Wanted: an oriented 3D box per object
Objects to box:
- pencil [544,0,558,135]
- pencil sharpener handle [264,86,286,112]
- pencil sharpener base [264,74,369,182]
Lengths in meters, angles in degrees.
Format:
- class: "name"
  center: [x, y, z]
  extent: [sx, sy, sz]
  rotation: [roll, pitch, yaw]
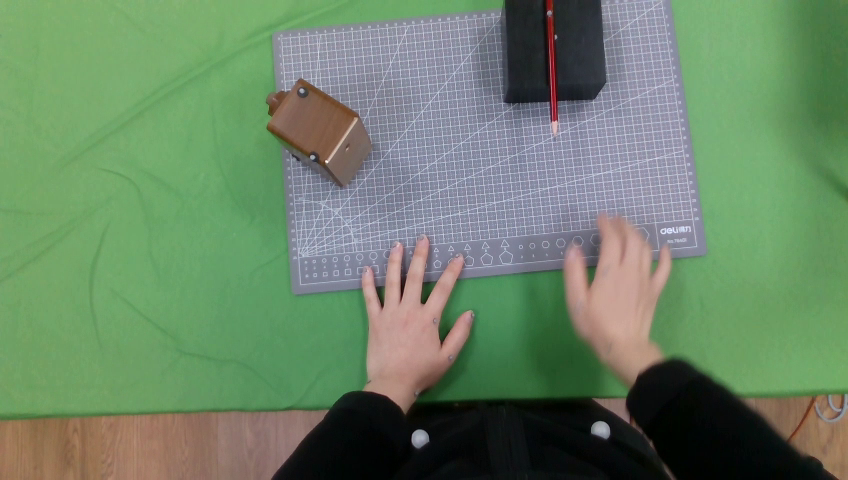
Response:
- class: "pencil"
  center: [0.130, -0.202, 0.623]
  extent: [0.012, 0.012, 0.193]
  rotation: [-2, 85, 1]
- class: "pencil sharpener handle"
  center: [-0.152, -0.140, 0.611]
  extent: [0.030, 0.068, 0.036]
  rotation: [33, 78, 5]
- class: "pencil sharpener base"
  center: [-0.108, -0.112, 0.619]
  extent: [0.076, 0.107, 0.061]
  rotation: [33, 86, 5]
